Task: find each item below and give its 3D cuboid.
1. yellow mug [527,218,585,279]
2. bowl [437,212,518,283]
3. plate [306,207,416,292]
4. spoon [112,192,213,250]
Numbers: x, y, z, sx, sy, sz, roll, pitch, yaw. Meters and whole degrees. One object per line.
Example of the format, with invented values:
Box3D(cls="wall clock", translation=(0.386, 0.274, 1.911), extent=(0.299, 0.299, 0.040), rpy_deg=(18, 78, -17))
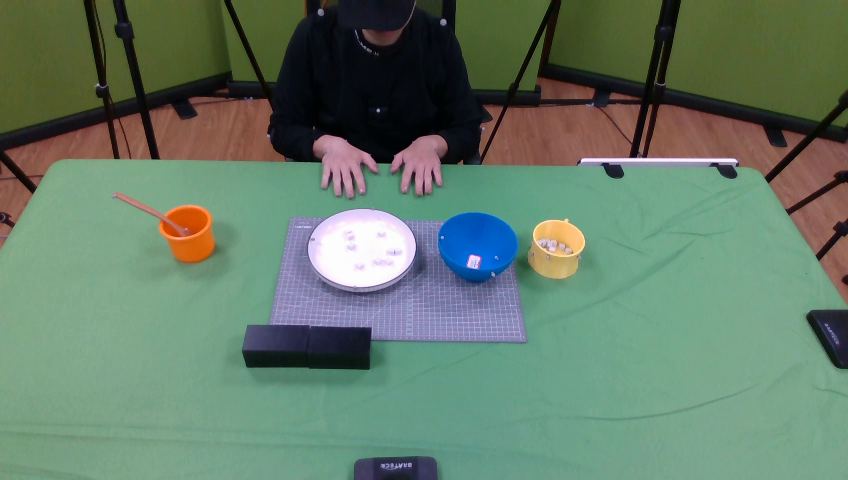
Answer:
Box3D(cls="yellow mug", translation=(0.261, 0.006, 1.181), extent=(0.100, 0.064, 0.130), rpy_deg=(18, 47, 14))
Box3D(cls="bowl", translation=(0.096, 0.025, 1.138), extent=(0.151, 0.077, 0.150), rpy_deg=(3, 46, -2))
Box3D(cls="plate", translation=(-0.119, 0.021, 1.153), extent=(0.209, 0.038, 0.208), rpy_deg=(2, 46, -2))
Box3D(cls="spoon", translation=(-0.475, -0.036, 1.108), extent=(0.021, 0.195, 0.041), rpy_deg=(-34, 35, 25))
